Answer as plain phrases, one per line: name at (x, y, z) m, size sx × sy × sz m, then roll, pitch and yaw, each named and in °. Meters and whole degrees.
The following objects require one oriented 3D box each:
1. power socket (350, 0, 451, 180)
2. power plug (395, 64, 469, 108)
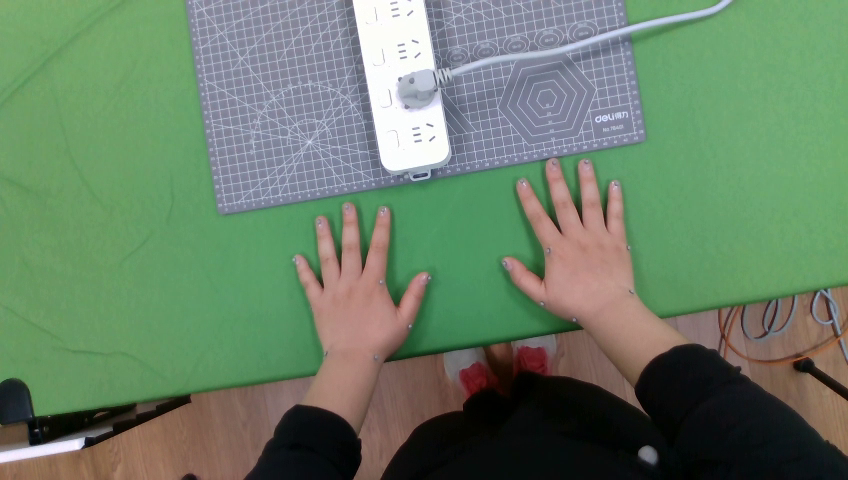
power socket at (-0.025, -0.174, 0.613) m, size 0.072 × 0.032 × 0.226 m, roll -11°, pitch 89°, yaw 4°
power plug at (0.008, -0.148, 0.592) m, size 0.072 × 0.052 × 0.035 m, roll 0°, pitch 91°, yaw 3°
